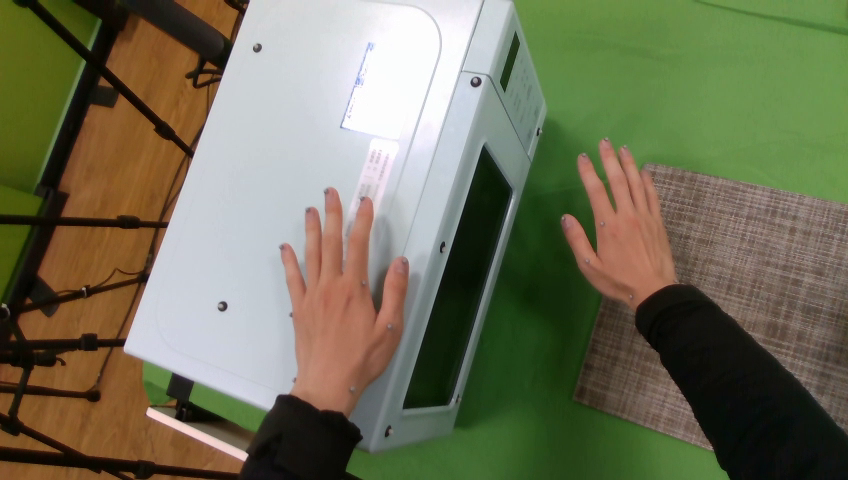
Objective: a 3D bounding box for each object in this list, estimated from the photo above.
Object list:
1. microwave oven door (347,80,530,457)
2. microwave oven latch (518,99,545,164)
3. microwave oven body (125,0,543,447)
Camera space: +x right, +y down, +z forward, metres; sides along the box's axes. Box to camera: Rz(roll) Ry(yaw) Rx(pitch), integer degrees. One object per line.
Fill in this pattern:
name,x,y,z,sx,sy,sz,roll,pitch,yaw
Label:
microwave oven door,0.031,0.044,0.651,0.039,0.246,0.355,14,82,22
microwave oven latch,0.132,-0.139,0.769,0.030,0.030,0.079,15,83,21
microwave oven body,-0.086,-0.029,0.714,0.324,0.262,0.440,15,83,21
